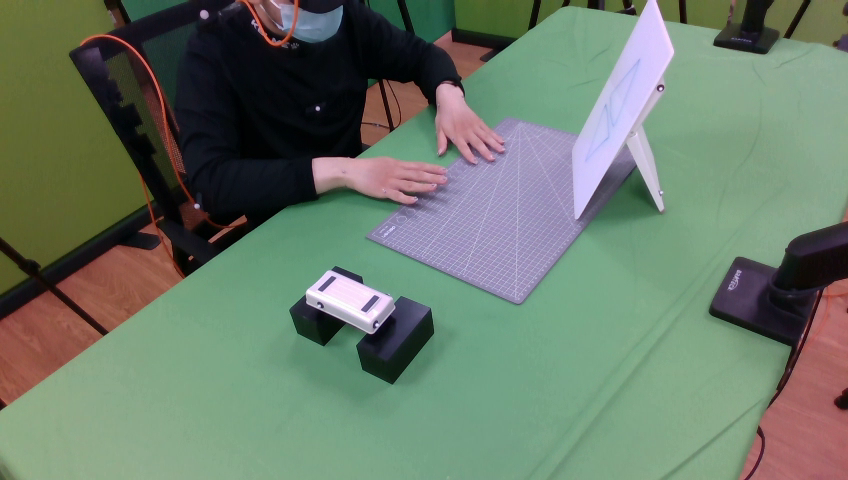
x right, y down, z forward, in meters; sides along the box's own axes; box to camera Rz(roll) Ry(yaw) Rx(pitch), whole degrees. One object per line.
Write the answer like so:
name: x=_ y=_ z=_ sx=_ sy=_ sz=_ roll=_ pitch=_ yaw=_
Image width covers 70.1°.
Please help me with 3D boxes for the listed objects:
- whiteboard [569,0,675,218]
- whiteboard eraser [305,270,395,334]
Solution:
whiteboard: x=0.363 y=-0.187 z=0.965 sx=0.144 sy=0.305 sz=0.216 roll=18 pitch=42 yaw=-3
whiteboard eraser: x=-0.098 y=0.083 z=0.799 sx=0.112 sy=0.042 sz=0.056 roll=20 pitch=44 yaw=25
